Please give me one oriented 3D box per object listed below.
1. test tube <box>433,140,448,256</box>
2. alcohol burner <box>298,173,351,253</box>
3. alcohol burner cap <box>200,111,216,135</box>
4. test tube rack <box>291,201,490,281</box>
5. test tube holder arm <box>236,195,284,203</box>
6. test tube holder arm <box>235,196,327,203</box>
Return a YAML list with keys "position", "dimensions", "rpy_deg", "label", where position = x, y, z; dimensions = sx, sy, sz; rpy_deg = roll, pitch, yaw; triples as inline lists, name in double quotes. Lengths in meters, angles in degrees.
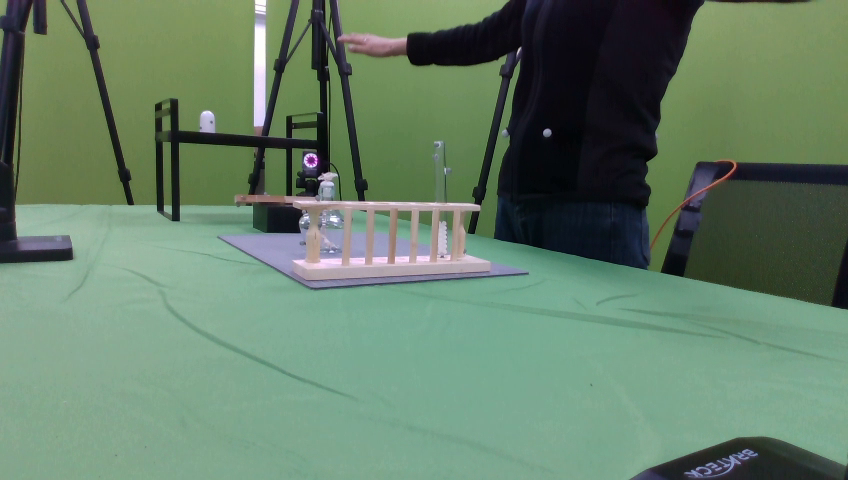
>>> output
- position: [0.021, -0.054, 0.785]
  dimensions: [0.017, 0.150, 0.017]
  rpy_deg: [-2, 8, 1]
  label: "test tube"
- position: [-0.146, -0.040, 0.894]
  dimensions: [0.078, 0.119, 0.078]
  rpy_deg: [5, 7, 0]
  label: "alcohol burner"
- position: [-0.448, -0.243, 1.255]
  dimensions: [0.034, 0.048, 0.034]
  rpy_deg: [2, 7, 0]
  label: "alcohol burner cap"
- position: [-0.035, -0.002, 0.745]
  dimensions: [0.243, 0.085, 0.066]
  rpy_deg: [-1, 8, -28]
  label: "test tube rack"
- position: [-0.305, -0.075, 1.123]
  dimensions: [0.088, 0.015, 0.010]
  rpy_deg: [-2, 4, -32]
  label: "test tube holder arm"
- position: [-0.270, -0.077, 1.153]
  dimensions: [0.179, 0.015, 0.013]
  rpy_deg: [-2, 3, -34]
  label: "test tube holder arm"
